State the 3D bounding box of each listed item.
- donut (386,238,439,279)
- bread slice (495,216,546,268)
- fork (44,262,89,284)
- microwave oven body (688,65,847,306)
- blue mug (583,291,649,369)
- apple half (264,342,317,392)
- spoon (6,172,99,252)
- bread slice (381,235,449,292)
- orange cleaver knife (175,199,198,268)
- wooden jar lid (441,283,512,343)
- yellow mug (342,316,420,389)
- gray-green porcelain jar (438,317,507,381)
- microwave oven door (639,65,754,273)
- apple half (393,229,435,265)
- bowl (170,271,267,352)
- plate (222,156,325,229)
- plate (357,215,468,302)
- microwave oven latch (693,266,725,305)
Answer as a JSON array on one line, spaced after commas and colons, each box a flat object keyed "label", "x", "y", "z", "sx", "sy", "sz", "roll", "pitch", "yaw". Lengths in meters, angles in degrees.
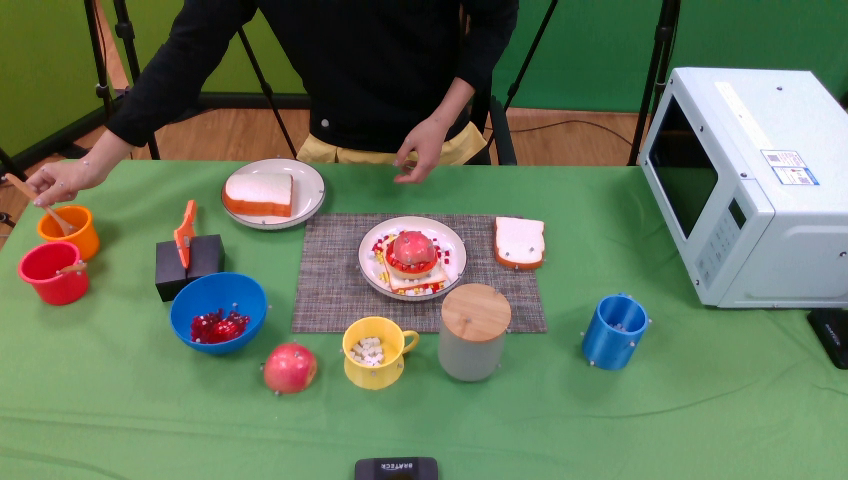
[{"label": "donut", "x": -0.021, "y": 0.028, "z": 1.110, "sx": 0.099, "sy": 0.048, "sz": 0.098, "roll": 3, "pitch": 47, "yaw": -2}, {"label": "bread slice", "x": 0.194, "y": 0.002, "z": 1.205, "sx": 0.105, "sy": 0.019, "sz": 0.131, "roll": 5, "pitch": 45, "yaw": 2}, {"label": "fork", "x": -0.599, "y": 0.054, "z": 1.014, "sx": 0.207, "sy": 0.019, "sz": 0.028, "roll": -14, "pitch": 29, "yaw": 45}, {"label": "microwave oven body", "x": 0.669, "y": -0.111, "z": 1.176, "sx": 0.326, "sy": 0.261, "sz": 0.439, "roll": 0, "pitch": 46, "yaw": -3}, {"label": "blue mug", "x": 0.324, "y": 0.142, "z": 1.023, "sx": 0.082, "sy": 0.106, "sz": 0.116, "roll": 15, "pitch": 47, "yaw": 11}, {"label": "apple half", "x": -0.214, "y": 0.198, "z": 0.970, "sx": 0.074, "sy": 0.053, "sz": 0.080, "roll": 19, "pitch": 48, "yaw": 11}, {"label": "spoon", "x": -0.677, "y": -0.052, "z": 1.106, "sx": 0.021, "sy": 0.194, "sz": 0.041, "roll": -9, "pitch": 36, "yaw": 54}, {"label": "bread slice", "x": -0.027, "y": 0.039, "z": 1.140, "sx": 0.107, "sy": 0.018, "sz": 0.133, "roll": -12, "pitch": 47, "yaw": -16}, {"label": "orange cleaver knife", "x": -0.438, "y": -0.017, "z": 1.137, "sx": 0.012, "sy": 0.077, "sz": 0.210, "roll": -14, "pitch": 27, "yaw": -6}, {"label": "wooden jar lid", "x": 0.080, "y": 0.114, "z": 0.931, "sx": 0.108, "sy": 0.021, "sz": 0.107, "roll": 1, "pitch": 49, "yaw": -1}, {"label": "yellow mug", "x": -0.067, "y": 0.178, "z": 0.990, "sx": 0.131, "sy": 0.064, "sz": 0.099, "roll": -16, "pitch": 50, "yaw": -19}, {"label": "gray-green porcelain jar", "x": 0.076, "y": 0.158, "z": 0.977, "sx": 0.106, "sy": 0.127, "sz": 0.105, "roll": 2, "pitch": 47, "yaw": -2}, {"label": "microwave oven door", "x": 0.522, "y": -0.147, "z": 1.192, "sx": 0.039, "sy": 0.245, "sz": 0.353, "roll": 0, "pitch": 47, "yaw": -3}, {"label": "apple half", "x": -0.018, "y": 0.005, "z": 1.083, "sx": 0.081, "sy": 0.033, "sz": 0.081, "roll": 6, "pitch": 49, "yaw": -7}, {"label": "bowl", "x": -0.333, "y": 0.132, "z": 1.006, "sx": 0.151, "sy": 0.077, "sz": 0.150, "roll": 2, "pitch": 46, "yaw": -2}, {"label": "plate", "x": -0.308, "y": -0.095, "z": 1.251, "sx": 0.209, "sy": 0.038, "sz": 0.208, "roll": 3, "pitch": 47, "yaw": -2}, {"label": "plate", "x": -0.022, "y": 0.037, "z": 1.141, "sx": 0.208, "sy": 0.039, "sz": 0.206, "roll": 2, "pitch": 46, "yaw": -2}, {"label": "microwave oven latch", "x": 0.523, "y": 0.082, "z": 1.115, "sx": 0.030, "sy": 0.029, "sz": 0.078, "roll": 3, "pitch": 46, "yaw": 0}]
